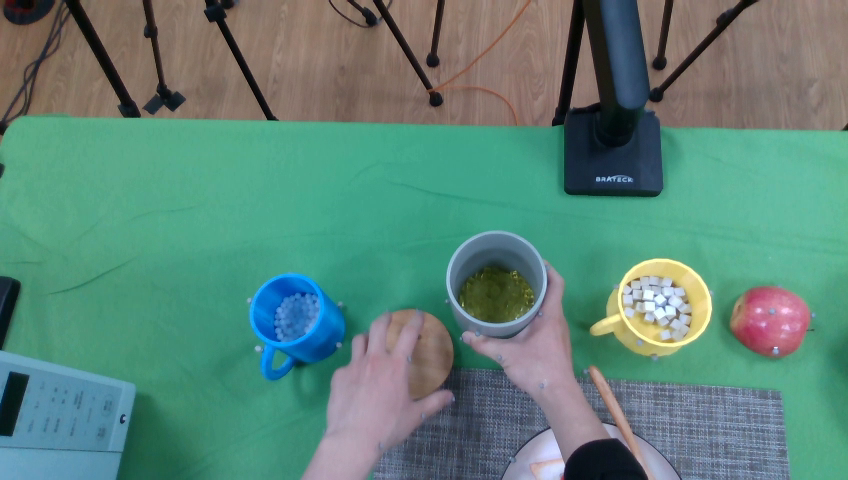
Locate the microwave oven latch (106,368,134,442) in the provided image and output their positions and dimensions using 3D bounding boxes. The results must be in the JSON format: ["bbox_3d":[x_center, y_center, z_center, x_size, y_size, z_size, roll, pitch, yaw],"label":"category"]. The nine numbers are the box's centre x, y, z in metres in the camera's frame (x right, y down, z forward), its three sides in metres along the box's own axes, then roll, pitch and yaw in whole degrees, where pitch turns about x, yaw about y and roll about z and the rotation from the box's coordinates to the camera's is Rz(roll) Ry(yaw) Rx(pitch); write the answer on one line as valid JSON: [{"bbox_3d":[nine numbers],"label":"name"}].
[{"bbox_3d":[-0.361,0.191,0.699,0.030,0.030,0.078,7,72,7],"label":"microwave oven latch"}]

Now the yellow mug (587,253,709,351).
[{"bbox_3d":[0.247,0.077,0.689,0.131,0.064,0.099,-20,70,-1],"label":"yellow mug"}]

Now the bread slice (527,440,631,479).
[{"bbox_3d":[0.178,0.286,0.636,0.107,0.018,0.133,-14,70,1],"label":"bread slice"}]

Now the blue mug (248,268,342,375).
[{"bbox_3d":[-0.153,0.101,0.696,0.082,0.106,0.116,23,75,13],"label":"blue mug"}]

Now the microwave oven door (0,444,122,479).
[{"bbox_3d":[-0.391,0.364,0.535,0.039,0.245,0.353,3,71,7],"label":"microwave oven door"}]

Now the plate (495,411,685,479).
[{"bbox_3d":[0.173,0.287,0.635,0.207,0.039,0.206,-2,71,5],"label":"plate"}]

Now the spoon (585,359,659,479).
[{"bbox_3d":[0.219,0.215,0.638,0.041,0.022,0.193,-22,79,-6],"label":"spoon"}]

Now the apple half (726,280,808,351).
[{"bbox_3d":[0.390,0.080,0.682,0.074,0.054,0.080,24,75,15],"label":"apple half"}]

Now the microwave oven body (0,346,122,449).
[{"bbox_3d":[-0.531,0.319,0.569,0.326,0.262,0.439,3,72,6],"label":"microwave oven body"}]

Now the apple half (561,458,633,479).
[{"bbox_3d":[0.170,0.250,0.579,0.081,0.033,0.080,-4,66,10],"label":"apple half"}]

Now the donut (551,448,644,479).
[{"bbox_3d":[0.176,0.262,0.613,0.099,0.048,0.098,-2,71,5],"label":"donut"}]

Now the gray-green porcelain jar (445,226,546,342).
[{"bbox_3d":[0.078,0.055,0.680,0.106,0.127,0.105,-1,71,5],"label":"gray-green porcelain jar"}]

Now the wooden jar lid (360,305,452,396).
[{"bbox_3d":[-0.021,0.131,0.716,0.108,0.021,0.107,-2,67,5],"label":"wooden jar lid"}]
